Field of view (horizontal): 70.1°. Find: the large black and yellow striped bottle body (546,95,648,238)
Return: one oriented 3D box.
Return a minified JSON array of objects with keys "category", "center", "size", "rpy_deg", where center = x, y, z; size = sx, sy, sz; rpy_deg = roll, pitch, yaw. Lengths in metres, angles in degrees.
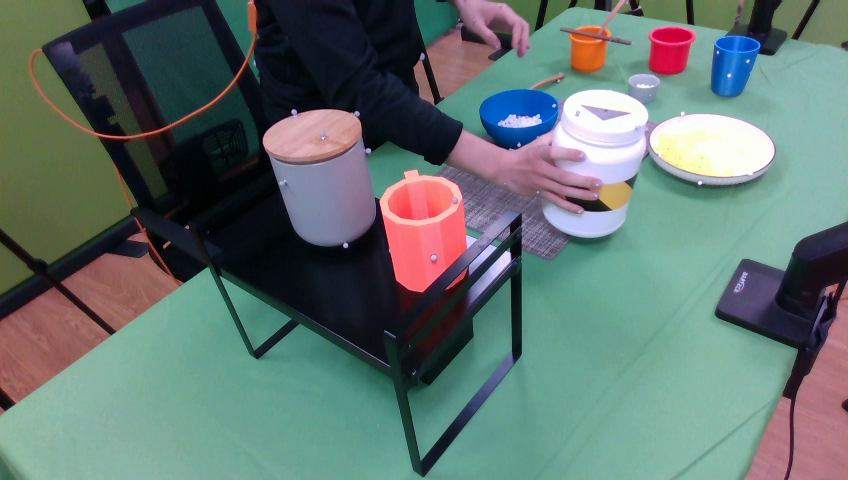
[{"category":"large black and yellow striped bottle body","center":[0.255,-0.109,0.899],"size":[0.131,0.184,0.130],"rpy_deg":[0,42,1]}]

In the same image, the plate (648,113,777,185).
[{"category":"plate","center":[0.506,-0.158,1.073],"size":[0.209,0.038,0.208],"rpy_deg":[-5,40,4]}]

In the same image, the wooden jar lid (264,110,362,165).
[{"category":"wooden jar lid","center":[-0.122,-0.112,0.673],"size":[0.108,0.021,0.108],"rpy_deg":[-4,37,4]}]

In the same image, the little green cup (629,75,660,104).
[{"category":"little green cup","center":[0.457,-0.314,1.260],"size":[0.061,0.039,0.061],"rpy_deg":[-4,40,4]}]

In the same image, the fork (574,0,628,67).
[{"category":"fork","center":[0.413,-0.481,1.377],"size":[0.207,0.019,0.028],"rpy_deg":[-56,43,12]}]

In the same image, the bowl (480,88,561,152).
[{"category":"bowl","center":[0.185,-0.222,1.160],"size":[0.151,0.077,0.150],"rpy_deg":[-4,40,4]}]

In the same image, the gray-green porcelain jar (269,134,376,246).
[{"category":"gray-green porcelain jar","center":[-0.115,-0.064,0.715],"size":[0.106,0.127,0.105],"rpy_deg":[-4,40,4]}]

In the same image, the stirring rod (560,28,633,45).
[{"category":"stirring rod","center":[0.381,-0.452,1.345],"size":[0.174,0.006,0.014],"rpy_deg":[26,50,33]}]

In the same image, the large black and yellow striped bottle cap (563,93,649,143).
[{"category":"large black and yellow striped bottle cap","center":[0.253,-0.172,0.843],"size":[0.115,0.019,0.114],"rpy_deg":[1,41,-1]}]

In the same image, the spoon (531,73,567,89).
[{"category":"spoon","center":[0.250,-0.337,1.332],"size":[0.194,0.022,0.041],"rpy_deg":[-32,32,-25]}]

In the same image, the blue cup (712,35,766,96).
[{"category":"blue cup","center":[0.627,-0.350,1.227],"size":[0.092,0.100,0.092],"rpy_deg":[-4,39,4]}]

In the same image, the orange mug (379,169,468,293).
[{"category":"orange mug","center":[-0.002,-0.019,0.665],"size":[0.083,0.101,0.125],"rpy_deg":[-12,45,-4]}]
